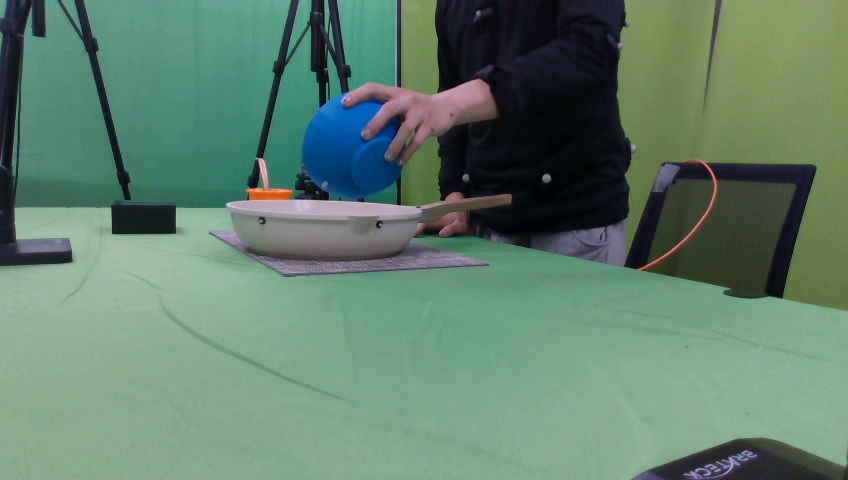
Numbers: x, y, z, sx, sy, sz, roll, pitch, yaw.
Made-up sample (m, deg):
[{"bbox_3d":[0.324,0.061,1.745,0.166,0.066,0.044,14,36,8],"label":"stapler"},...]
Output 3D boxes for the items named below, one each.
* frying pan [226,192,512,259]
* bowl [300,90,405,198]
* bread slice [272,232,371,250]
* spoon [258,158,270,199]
[{"bbox_3d":[-0.058,-0.041,0.975,0.490,0.102,0.305,-11,13,-26],"label":"frying pan"},{"bbox_3d":[-0.080,-0.115,0.807,0.152,0.151,0.076,-3,30,-38],"label":"bowl"},{"bbox_3d":[-0.148,0.002,0.929,0.133,0.018,0.107,4,7,38],"label":"bread slice"},{"bbox_3d":[-0.332,-0.107,1.269,0.042,0.021,0.193,0,53,-23],"label":"spoon"}]
